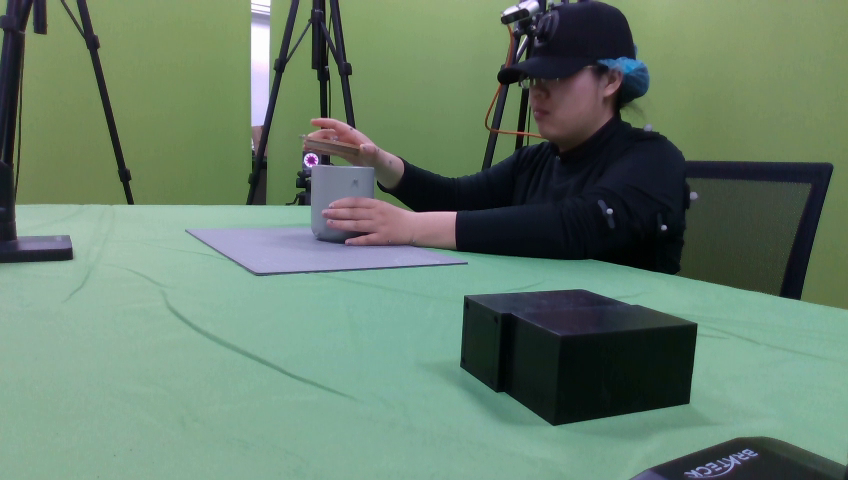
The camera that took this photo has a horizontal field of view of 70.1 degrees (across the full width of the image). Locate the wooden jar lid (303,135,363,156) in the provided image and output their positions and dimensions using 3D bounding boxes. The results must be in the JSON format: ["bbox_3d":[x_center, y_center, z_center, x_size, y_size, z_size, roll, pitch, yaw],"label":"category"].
[{"bbox_3d":[-0.163,-0.168,1.079,0.108,0.020,0.108,9,7,-1],"label":"wooden jar lid"}]

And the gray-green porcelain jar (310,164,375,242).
[{"bbox_3d":[-0.139,-0.063,1.025,0.106,0.126,0.106,3,8,0],"label":"gray-green porcelain jar"}]
